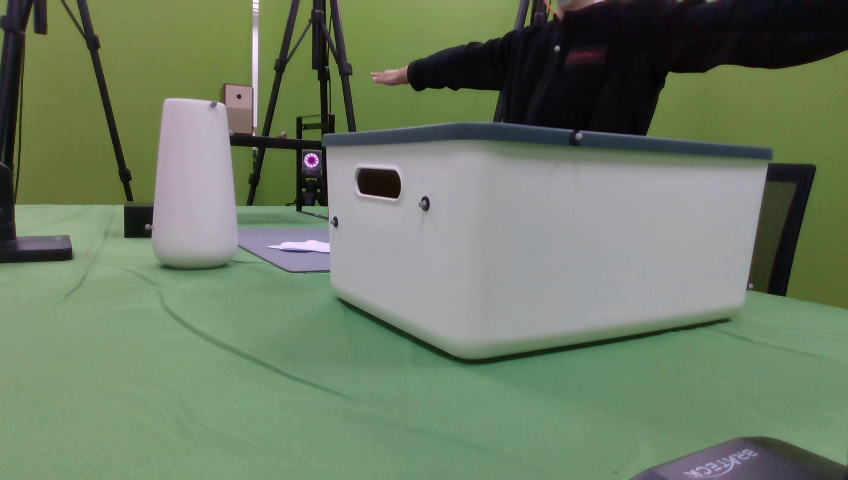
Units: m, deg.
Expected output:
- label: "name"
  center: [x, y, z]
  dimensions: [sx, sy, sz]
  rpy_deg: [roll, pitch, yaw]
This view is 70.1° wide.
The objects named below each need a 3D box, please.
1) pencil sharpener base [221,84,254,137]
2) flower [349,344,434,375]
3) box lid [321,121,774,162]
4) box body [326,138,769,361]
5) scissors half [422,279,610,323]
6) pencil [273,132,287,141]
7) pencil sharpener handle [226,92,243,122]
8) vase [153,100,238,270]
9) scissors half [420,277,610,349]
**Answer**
- label: "pencil sharpener base"
  center: [-0.411, -0.282, 1.330]
  dimensions: [0.061, 0.107, 0.076]
  rpy_deg: [-1, 8, -26]
- label: "flower"
  center: [0.103, 0.072, 0.592]
  dimensions: [0.362, 0.044, 0.038]
  rpy_deg: [-17, 44, -9]
- label: "box lid"
  center: [0.114, -0.085, 0.573]
  dimensions: [0.373, 0.015, 0.262]
  rpy_deg: [-2, 7, -33]
- label: "box body"
  center: [0.112, -0.010, 0.583]
  dimensions: [0.366, 0.160, 0.253]
  rpy_deg: [-2, 9, -33]
- label: "scissors half"
  center: [0.073, 0.057, 0.524]
  dimensions: [0.174, 0.040, 0.013]
  rpy_deg: [5, 39, 30]
- label: "pencil"
  center: [-0.333, -0.236, 1.391]
  dimensions: [0.012, 0.012, 0.193]
  rpy_deg: [0, 6, -21]
- label: "pencil sharpener handle"
  center: [-0.431, -0.301, 1.375]
  dimensions: [0.036, 0.068, 0.030]
  rpy_deg: [-14, 13, -24]
- label: "vase"
  center: [-0.278, -0.066, 0.736]
  dimensions: [0.098, 0.200, 0.098]
  rpy_deg: [2, 9, 0]
- label: "scissors half"
  center: [0.076, 0.067, 0.533]
  dimensions: [0.174, 0.040, 0.013]
  rpy_deg: [14, 50, 24]
